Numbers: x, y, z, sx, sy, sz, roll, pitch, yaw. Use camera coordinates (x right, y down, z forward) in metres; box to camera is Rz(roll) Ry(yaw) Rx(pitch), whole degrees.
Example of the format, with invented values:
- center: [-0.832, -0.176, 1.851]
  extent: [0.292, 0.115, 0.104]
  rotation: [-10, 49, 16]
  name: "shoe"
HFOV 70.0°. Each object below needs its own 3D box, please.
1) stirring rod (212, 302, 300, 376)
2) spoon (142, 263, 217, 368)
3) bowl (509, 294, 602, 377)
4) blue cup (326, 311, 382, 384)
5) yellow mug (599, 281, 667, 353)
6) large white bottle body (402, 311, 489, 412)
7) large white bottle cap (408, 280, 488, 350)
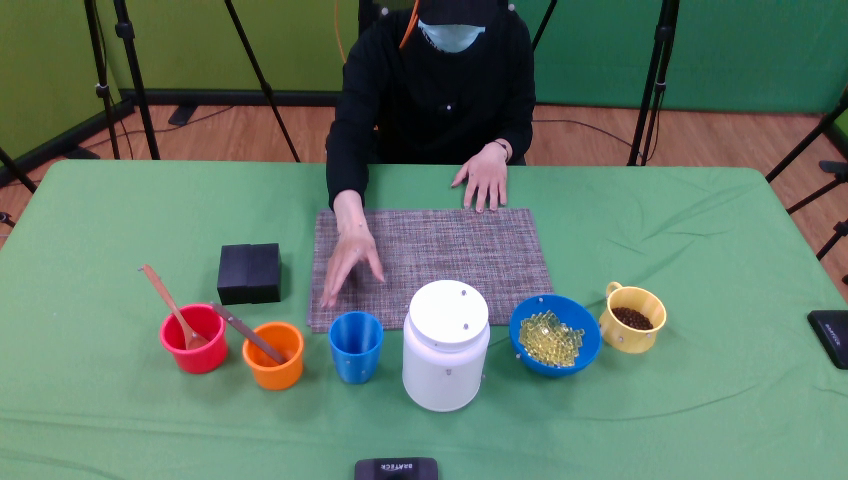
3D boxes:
- center: [-0.261, 0.156, 0.948]
  extent: [0.177, 0.006, 0.014]
  rotation: [45, 45, -20]
  name: "stirring rod"
- center: [-0.392, 0.120, 0.968]
  extent: [0.041, 0.021, 0.194]
  rotation: [-33, 100, -29]
  name: "spoon"
- center: [0.211, 0.171, 1.007]
  extent: [0.151, 0.077, 0.150]
  rotation: [2, 46, -2]
  name: "bowl"
- center: [-0.110, 0.178, 0.963]
  extent: [0.093, 0.101, 0.092]
  rotation: [3, 45, -3]
  name: "blue cup"
- center: [0.359, 0.127, 1.069]
  extent: [0.100, 0.064, 0.130]
  rotation: [-12, 47, -14]
  name: "yellow mug"
- center: [0.031, 0.163, 0.928]
  extent: [0.131, 0.185, 0.130]
  rotation: [2, 46, -2]
  name: "large white bottle body"
- center: [0.034, 0.105, 0.866]
  extent: [0.115, 0.018, 0.114]
  rotation: [2, 46, -1]
  name: "large white bottle cap"
